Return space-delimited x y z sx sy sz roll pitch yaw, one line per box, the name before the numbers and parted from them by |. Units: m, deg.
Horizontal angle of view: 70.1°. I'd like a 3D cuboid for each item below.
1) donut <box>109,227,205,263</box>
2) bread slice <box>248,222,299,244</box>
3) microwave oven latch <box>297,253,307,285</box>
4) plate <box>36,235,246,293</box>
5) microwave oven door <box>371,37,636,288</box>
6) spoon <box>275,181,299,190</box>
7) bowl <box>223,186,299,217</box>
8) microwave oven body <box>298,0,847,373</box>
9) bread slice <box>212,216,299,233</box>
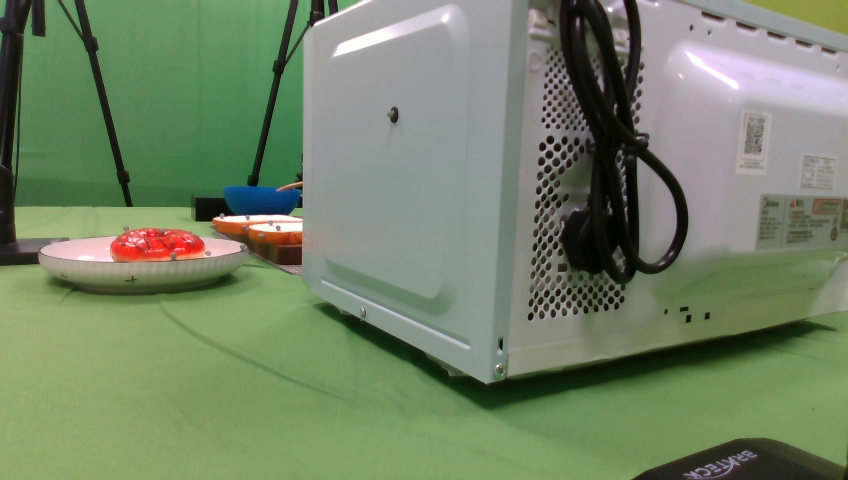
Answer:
donut | -0.298 0.012 0.679 0.099 0.048 0.099 4 10 0
bread slice | -0.174 -0.012 0.844 0.135 0.018 0.106 -6 10 -44
microwave oven latch | -0.082 0.027 0.582 0.079 0.029 0.030 -1 7 -32
plate | -0.305 0.026 0.668 0.208 0.039 0.207 2 7 0
microwave oven door | 0.109 -0.080 0.686 0.358 0.243 0.039 -2 9 -33
spoon | -0.301 -0.101 1.260 0.041 0.021 0.194 13 30 33
bowl | -0.330 -0.068 1.230 0.151 0.077 0.151 3 7 0
microwave oven body | 0.151 -0.055 0.543 0.444 0.260 0.324 -1 7 -33
bread slice | -0.256 -0.026 0.936 0.132 0.019 0.104 -4 8 -40
